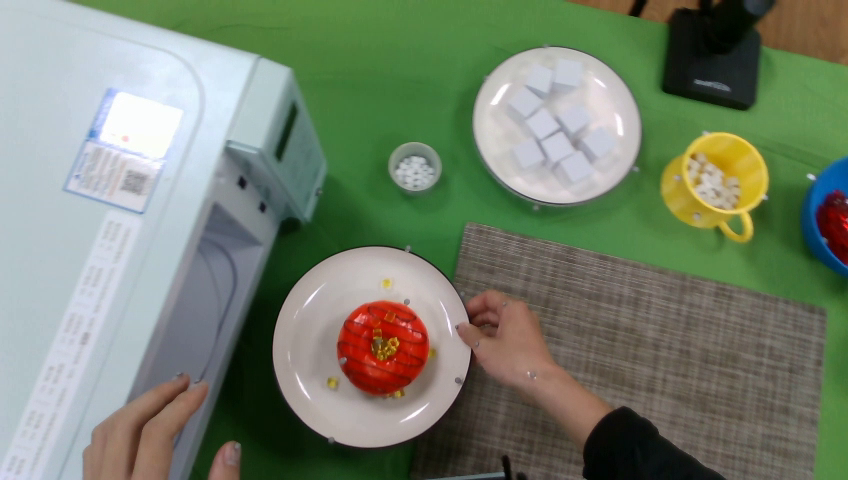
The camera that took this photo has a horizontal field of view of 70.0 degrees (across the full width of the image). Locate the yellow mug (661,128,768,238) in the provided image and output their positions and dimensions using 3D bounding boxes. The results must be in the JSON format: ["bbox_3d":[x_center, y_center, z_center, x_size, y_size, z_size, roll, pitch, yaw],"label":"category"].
[{"bbox_3d":[0.355,-0.063,0.729,0.100,0.064,0.130,-23,81,-7],"label":"yellow mug"}]

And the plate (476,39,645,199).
[{"bbox_3d":[0.166,-0.147,0.753,0.208,0.039,0.206,0,78,-2],"label":"plate"}]

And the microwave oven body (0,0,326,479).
[{"bbox_3d":[-0.326,0.027,0.580,0.326,0.261,0.440,17,79,1],"label":"microwave oven body"}]

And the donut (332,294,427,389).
[{"bbox_3d":[-0.046,0.105,0.630,0.099,0.048,0.099,0,90,-9],"label":"donut"}]

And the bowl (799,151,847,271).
[{"bbox_3d":[0.510,-0.026,0.721,0.151,0.077,0.150,0,79,-2],"label":"bowl"}]

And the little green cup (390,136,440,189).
[{"bbox_3d":[-0.011,-0.091,0.733,0.061,0.039,0.061,0,81,-1],"label":"little green cup"}]

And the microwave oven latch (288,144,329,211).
[{"bbox_3d":[-0.136,-0.076,0.707,0.030,0.029,0.079,21,79,2],"label":"microwave oven latch"}]

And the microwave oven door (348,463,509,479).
[{"bbox_3d":[-0.080,0.252,0.539,0.356,0.244,0.039,-5,77,-3],"label":"microwave oven door"}]

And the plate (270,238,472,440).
[{"bbox_3d":[-0.055,0.103,0.640,0.209,0.038,0.208,1,86,-6],"label":"plate"}]
